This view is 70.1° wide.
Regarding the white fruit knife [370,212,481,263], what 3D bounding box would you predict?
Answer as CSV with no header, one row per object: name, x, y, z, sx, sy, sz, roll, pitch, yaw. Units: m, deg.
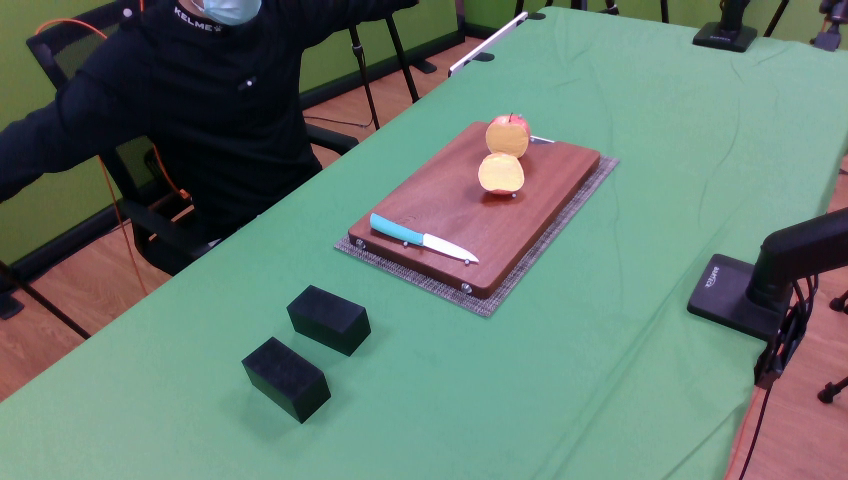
white fruit knife,-0.003,-0.002,0.930,0.206,0.016,0.027,20,62,26

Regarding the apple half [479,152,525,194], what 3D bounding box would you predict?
apple half,0.131,-0.108,1.016,0.081,0.033,0.081,0,66,1

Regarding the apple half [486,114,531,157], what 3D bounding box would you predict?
apple half,0.154,-0.190,1.084,0.080,0.075,0.053,5,38,20
